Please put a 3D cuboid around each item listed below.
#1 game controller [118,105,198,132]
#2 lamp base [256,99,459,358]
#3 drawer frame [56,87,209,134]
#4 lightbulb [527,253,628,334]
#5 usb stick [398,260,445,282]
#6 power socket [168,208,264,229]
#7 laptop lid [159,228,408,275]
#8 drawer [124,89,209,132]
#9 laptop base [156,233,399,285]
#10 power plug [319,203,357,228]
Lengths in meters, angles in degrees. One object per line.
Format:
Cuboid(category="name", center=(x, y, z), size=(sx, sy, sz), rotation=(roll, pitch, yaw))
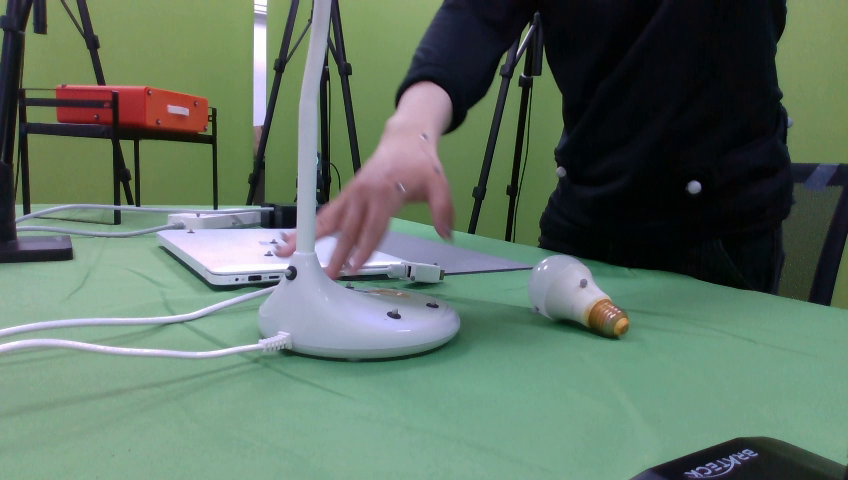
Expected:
Cuboid(category="game controller", center=(-0.554, -0.252, 1.254), size=(0.097, 0.051, 0.155), rotation=(6, 11, 19))
Cuboid(category="lamp base", center=(-0.056, -0.013, 0.462), size=(0.160, 0.180, 0.180), rotation=(5, 11, 27))
Cuboid(category="drawer frame", center=(-0.598, -0.269, 1.261), size=(0.213, 0.082, 0.202), rotation=(4, 8, 14))
Cuboid(category="lightbulb", center=(0.137, 0.050, 0.534), size=(0.060, 0.059, 0.107), rotation=(-3, 24, -33))
Cuboid(category="usb stick", center=(-0.001, 0.036, 0.696), size=(0.027, 0.021, 0.059), rotation=(9, 2, 43))
Cuboid(category="power socket", center=(-0.381, -0.038, 1.128), size=(0.072, 0.032, 0.227), rotation=(4, 8, 16))
Cuboid(category="laptop lid", center=(-0.202, 0.007, 0.806), size=(0.243, 0.013, 0.355), rotation=(-1, 8, -31))
Cuboid(category="drawer", center=(-0.595, -0.268, 1.263), size=(0.211, 0.073, 0.195), rotation=(4, 8, 15))
Cuboid(category="laptop base", center=(-0.204, 0.019, 0.806), size=(0.237, 0.023, 0.352), rotation=(0, 7, -33))
Cuboid(category="power plug", center=(-0.170, -0.046, 1.209), size=(0.073, 0.052, 0.035), rotation=(-6, -17, -9))
